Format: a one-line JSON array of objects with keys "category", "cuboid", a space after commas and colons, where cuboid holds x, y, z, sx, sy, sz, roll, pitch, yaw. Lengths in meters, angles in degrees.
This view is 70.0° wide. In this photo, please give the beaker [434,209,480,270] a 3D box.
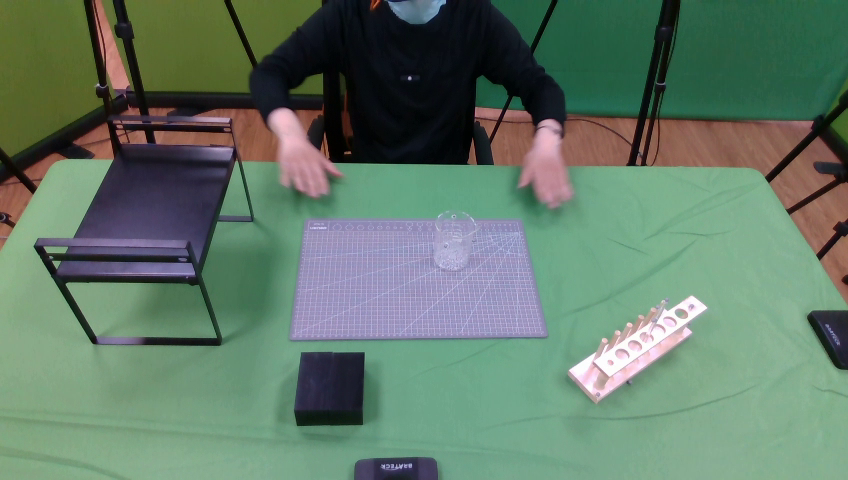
[{"category": "beaker", "cuboid": [0.058, 0.002, 1.138, 0.084, 0.101, 0.073, 8, 47, 3]}]

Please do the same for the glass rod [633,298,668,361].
[{"category": "glass rod", "cuboid": [0.349, 0.143, 0.945, 0.008, 0.201, 0.008, -1, 53, 1]}]

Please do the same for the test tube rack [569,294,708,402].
[{"category": "test tube rack", "cuboid": [0.360, 0.167, 1.014, 0.242, 0.085, 0.066, -25, 53, -25]}]
